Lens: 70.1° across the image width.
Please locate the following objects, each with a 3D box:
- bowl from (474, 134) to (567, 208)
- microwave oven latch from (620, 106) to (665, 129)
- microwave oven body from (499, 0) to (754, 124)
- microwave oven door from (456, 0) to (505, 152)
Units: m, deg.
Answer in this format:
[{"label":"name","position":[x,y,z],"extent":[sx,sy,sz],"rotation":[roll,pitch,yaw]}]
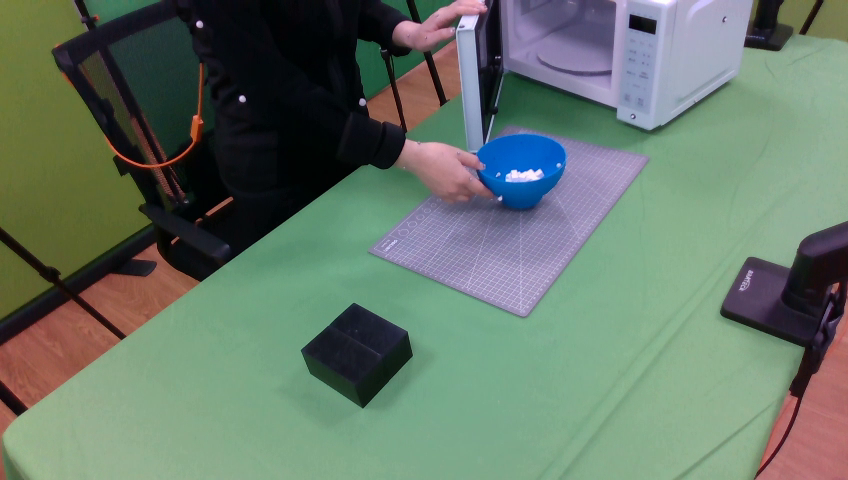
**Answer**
[{"label":"bowl","position":[0.161,-0.106,1.006],"extent":[0.151,0.077,0.150],"rotation":[-5,39,5]},{"label":"microwave oven latch","position":[0.412,-0.237,1.146],"extent":[0.030,0.029,0.078],"rotation":[-32,44,-23]},{"label":"microwave oven body","position":[0.402,-0.458,1.259],"extent":[0.327,0.261,0.437],"rotation":[-33,45,-24]},{"label":"microwave oven door","position":[0.120,-0.373,1.206],"extent":[0.039,0.245,0.355],"rotation":[2,41,14]}]
